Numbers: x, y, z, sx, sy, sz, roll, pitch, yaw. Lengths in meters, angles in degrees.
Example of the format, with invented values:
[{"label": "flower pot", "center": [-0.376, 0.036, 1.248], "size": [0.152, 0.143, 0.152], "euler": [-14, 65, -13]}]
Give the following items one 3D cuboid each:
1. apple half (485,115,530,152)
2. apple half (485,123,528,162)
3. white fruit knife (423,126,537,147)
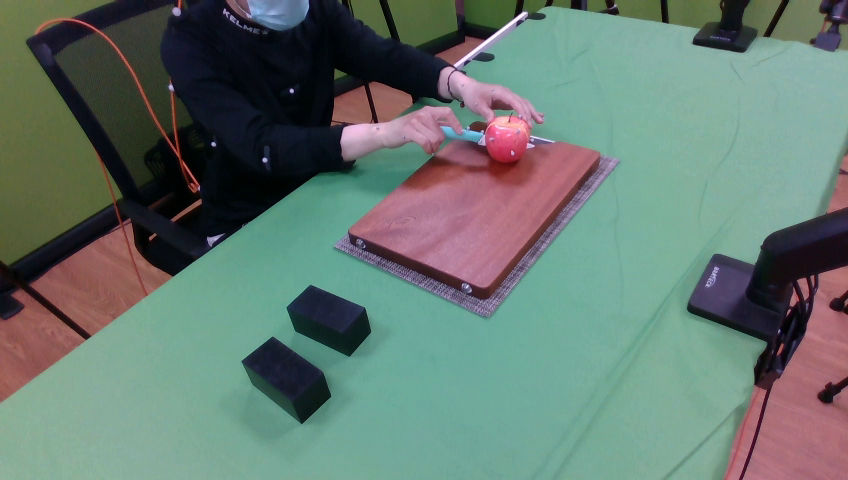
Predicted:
[{"label": "apple half", "center": [0.153, -0.189, 1.082], "size": [0.080, 0.075, 0.053], "euler": [5, 35, 18]}, {"label": "apple half", "center": [0.140, -0.163, 1.051], "size": [0.081, 0.081, 0.033], "euler": [7, 41, 16]}, {"label": "white fruit knife", "center": [0.098, -0.183, 1.074], "size": [0.207, 0.027, 0.016], "euler": [9, 44, 13]}]
